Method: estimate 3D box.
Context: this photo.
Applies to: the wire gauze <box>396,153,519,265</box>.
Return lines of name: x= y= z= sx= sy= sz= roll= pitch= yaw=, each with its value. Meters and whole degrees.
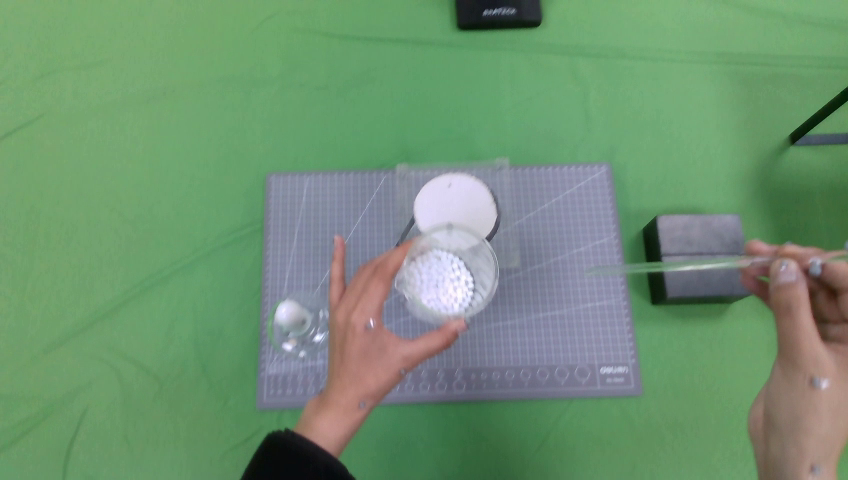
wire gauze: x=0.033 y=-0.032 z=0.631 sx=0.125 sy=0.011 sz=0.121 roll=-1 pitch=74 yaw=-1

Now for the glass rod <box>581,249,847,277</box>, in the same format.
glass rod: x=0.187 y=0.015 z=0.382 sx=0.008 sy=0.198 sz=0.008 roll=7 pitch=80 yaw=-45

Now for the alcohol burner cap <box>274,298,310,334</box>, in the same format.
alcohol burner cap: x=-0.141 y=0.078 z=0.638 sx=0.034 sy=0.048 sz=0.033 roll=-1 pitch=69 yaw=2

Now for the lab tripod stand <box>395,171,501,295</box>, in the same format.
lab tripod stand: x=0.037 y=-0.017 z=0.696 sx=0.148 sy=0.132 sz=0.147 roll=0 pitch=72 yaw=0

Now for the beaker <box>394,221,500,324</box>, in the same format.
beaker: x=0.013 y=0.034 z=0.511 sx=0.084 sy=0.100 sz=0.073 roll=-14 pitch=80 yaw=-9

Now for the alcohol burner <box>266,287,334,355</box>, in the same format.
alcohol burner: x=-0.141 y=0.087 z=0.673 sx=0.078 sy=0.119 sz=0.077 roll=0 pitch=75 yaw=-1
